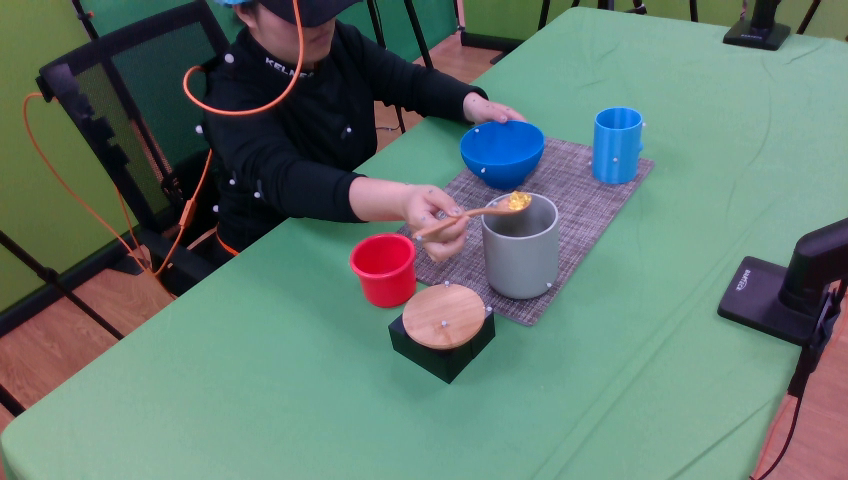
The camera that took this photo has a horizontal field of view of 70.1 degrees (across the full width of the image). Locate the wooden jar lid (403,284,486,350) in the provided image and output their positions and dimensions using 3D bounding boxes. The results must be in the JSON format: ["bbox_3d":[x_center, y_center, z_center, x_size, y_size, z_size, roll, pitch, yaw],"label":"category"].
[{"bbox_3d":[0.027,0.101,0.786,0.108,0.021,0.108,-5,39,5],"label":"wooden jar lid"}]

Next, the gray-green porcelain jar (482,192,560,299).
[{"bbox_3d":[0.139,0.012,0.858,0.106,0.127,0.105,-6,40,5],"label":"gray-green porcelain jar"}]

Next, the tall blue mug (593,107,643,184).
[{"bbox_3d":[0.330,-0.172,1.052,0.078,0.108,0.106,-12,40,0],"label":"tall blue mug"}]

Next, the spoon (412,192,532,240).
[{"bbox_3d":[0.064,-0.032,0.777,0.195,0.022,0.041,-16,32,-33],"label":"spoon"}]

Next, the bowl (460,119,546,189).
[{"bbox_3d":[0.143,-0.145,1.081,0.151,0.077,0.150,-6,40,5],"label":"bowl"}]
